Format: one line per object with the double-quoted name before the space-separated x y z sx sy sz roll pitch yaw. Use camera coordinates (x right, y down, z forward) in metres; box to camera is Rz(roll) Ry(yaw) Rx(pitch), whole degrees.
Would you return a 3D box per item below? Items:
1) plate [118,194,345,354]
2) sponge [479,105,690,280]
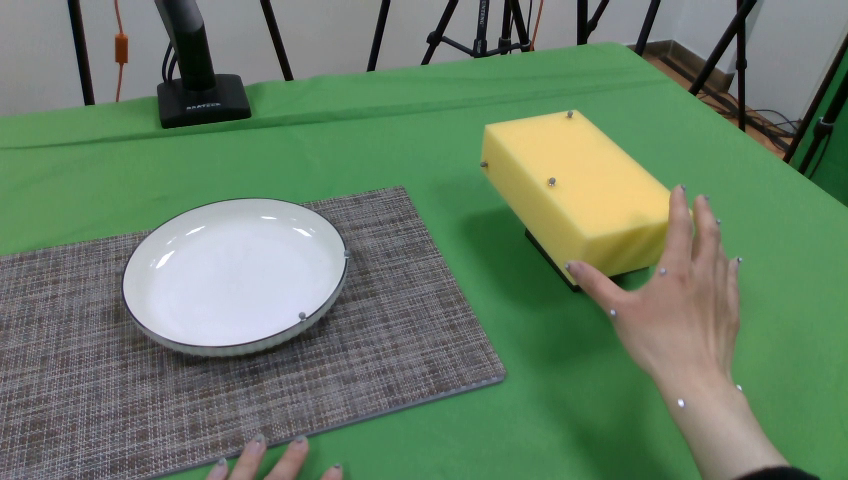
"plate" -0.181 0.032 0.592 0.208 0.039 0.205 2 42 -2
"sponge" 0.155 -0.059 0.631 0.118 0.061 0.204 -13 44 -18
